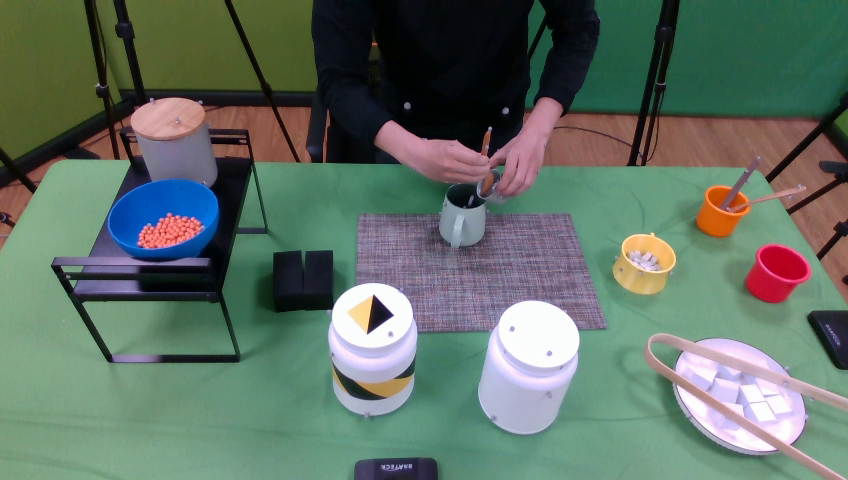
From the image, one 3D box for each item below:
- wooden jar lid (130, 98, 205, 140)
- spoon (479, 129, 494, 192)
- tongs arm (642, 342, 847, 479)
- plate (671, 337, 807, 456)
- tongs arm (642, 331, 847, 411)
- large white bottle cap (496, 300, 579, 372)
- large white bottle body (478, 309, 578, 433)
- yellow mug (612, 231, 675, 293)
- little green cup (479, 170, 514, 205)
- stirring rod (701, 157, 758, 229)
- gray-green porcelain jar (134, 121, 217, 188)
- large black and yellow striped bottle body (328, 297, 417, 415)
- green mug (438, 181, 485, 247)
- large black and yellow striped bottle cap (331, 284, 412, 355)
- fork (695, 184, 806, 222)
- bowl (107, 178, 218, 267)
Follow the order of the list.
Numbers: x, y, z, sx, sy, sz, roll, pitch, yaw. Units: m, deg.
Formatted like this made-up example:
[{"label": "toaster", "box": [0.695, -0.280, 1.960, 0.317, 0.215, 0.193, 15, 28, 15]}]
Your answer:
[{"label": "wooden jar lid", "box": [-0.393, -0.183, 0.934, 0.108, 0.021, 0.107, 3, 44, -2]}, {"label": "spoon", "box": [0.106, -0.135, 1.052, 0.021, 0.194, 0.041, 34, 74, 21]}, {"label": "tongs arm", "box": [0.504, 0.278, 0.918, 0.386, 0.028, 0.028, 34, 59, 22]}, {"label": "plate", "box": [0.504, 0.254, 0.984, 0.208, 0.039, 0.206, 2, 46, -2]}, {"label": "tongs arm", "box": [0.546, 0.227, 0.968, 0.384, 0.026, 0.050, 22, 52, 13]}, {"label": "large white bottle cap", "box": [0.160, 0.133, 0.853, 0.115, 0.018, 0.114, 3, 46, -3]}, {"label": "large white bottle body", "box": [0.155, 0.192, 0.913, 0.131, 0.185, 0.130, 2, 46, -2]}, {"label": "yellow mug", "box": [0.424, 0.033, 1.168, 0.100, 0.064, 0.130, 18, 46, 13]}, {"label": "little green cup", "box": [0.138, -0.096, 1.140, 0.039, 0.061, 0.061, 46, 44, -22]}, {"label": "stirring rod", "box": [0.634, -0.097, 1.257, 0.014, 0.006, 0.176, 38, 97, 30]}, {"label": "gray-green porcelain jar", "box": [-0.396, -0.141, 0.979, 0.106, 0.127, 0.105, 2, 47, -2]}, {"label": "large black and yellow striped bottle body", "box": [-0.078, 0.167, 0.920, 0.131, 0.185, 0.130, 2, 46, -2]}, {"label": "green mug", "box": [0.071, -0.039, 1.178, 0.092, 0.105, 0.124, 12, 47, 7]}, {"label": "large black and yellow striped bottle cap", "box": [-0.073, 0.111, 0.858, 0.115, 0.019, 0.114, 2, 46, -1]}, {"label": "fork", "box": [0.658, -0.074, 1.230, 0.207, 0.019, 0.028, -23, 35, 37]}, {"label": "bowl", "box": [-0.374, -0.014, 0.893, 0.151, 0.077, 0.150, 2, 46, -2]}]
